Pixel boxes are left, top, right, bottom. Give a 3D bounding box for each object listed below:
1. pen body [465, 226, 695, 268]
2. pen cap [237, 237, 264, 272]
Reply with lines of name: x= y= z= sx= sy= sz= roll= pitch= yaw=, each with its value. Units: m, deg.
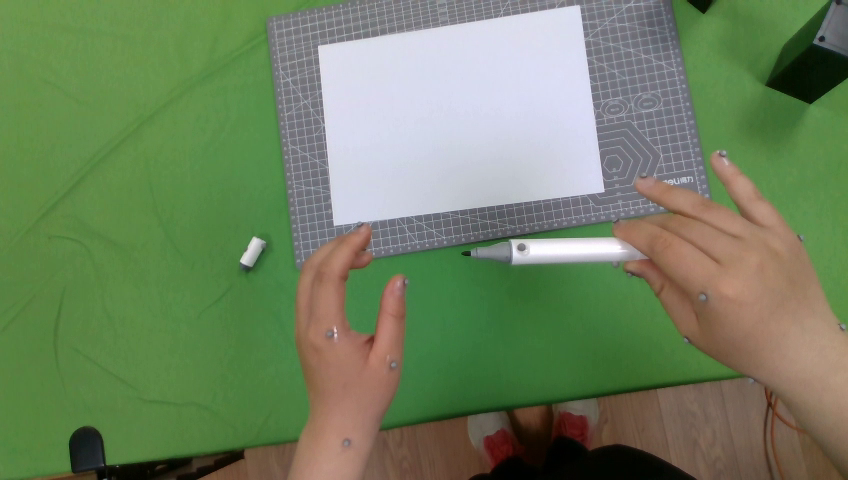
pen body: x=0.097 y=0.005 z=0.381 sx=0.144 sy=0.017 sz=0.017 roll=-5 pitch=83 yaw=-4
pen cap: x=-0.195 y=0.016 z=0.678 sx=0.017 sy=0.017 sz=0.038 roll=29 pitch=88 yaw=10
